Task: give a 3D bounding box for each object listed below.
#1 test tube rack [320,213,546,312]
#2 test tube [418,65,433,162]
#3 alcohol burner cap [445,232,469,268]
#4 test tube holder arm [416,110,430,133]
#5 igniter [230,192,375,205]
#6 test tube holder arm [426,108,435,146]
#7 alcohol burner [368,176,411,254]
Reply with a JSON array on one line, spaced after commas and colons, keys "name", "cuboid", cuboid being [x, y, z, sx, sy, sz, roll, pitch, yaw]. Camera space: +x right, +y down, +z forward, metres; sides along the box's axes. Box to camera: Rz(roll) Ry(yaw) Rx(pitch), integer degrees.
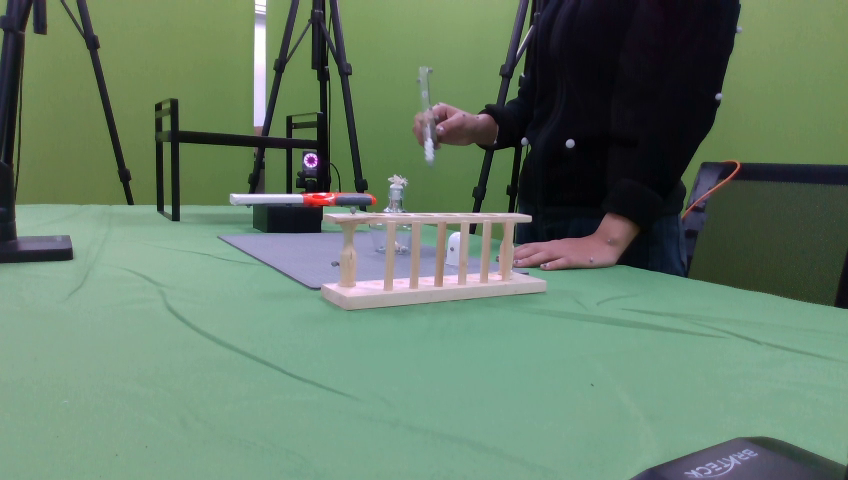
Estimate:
[{"name": "test tube rack", "cuboid": [0.017, 0.017, 0.638, 0.244, 0.085, 0.066, -2, 9, -31]}, {"name": "test tube", "cuboid": [0.002, -0.196, 0.938, 0.017, 0.150, 0.017, -3, -3, 0]}, {"name": "alcohol burner cap", "cuboid": [0.045, 0.013, 0.829, 0.034, 0.048, 0.034, 2, 8, 0]}, {"name": "test tube holder arm", "cuboid": [0.001, -0.187, 0.960, 0.010, 0.015, 0.088, -8, -6, 11]}, {"name": "igniter", "cuboid": [-0.226, -0.079, 1.161, 0.278, 0.025, 0.057, -2, 15, -28]}, {"name": "test tube holder arm", "cuboid": [0.012, -0.184, 1.004, 0.013, 0.015, 0.178, -7, -6, 3]}, {"name": "alcohol burner", "cuboid": [-0.045, -0.038, 0.913, 0.078, 0.119, 0.078, 5, 7, 0]}]
